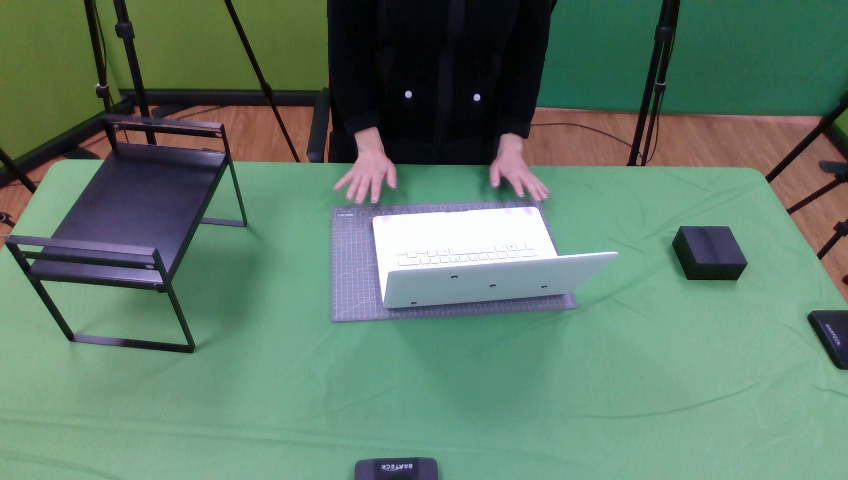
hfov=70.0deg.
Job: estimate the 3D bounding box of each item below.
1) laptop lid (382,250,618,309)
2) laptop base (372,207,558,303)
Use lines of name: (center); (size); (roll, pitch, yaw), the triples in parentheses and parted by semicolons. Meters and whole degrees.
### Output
laptop lid: (0.110, 0.070, 0.989); (0.357, 0.242, 0.013); (-4, 70, -9)
laptop base: (0.083, 0.027, 1.178); (0.355, 0.023, 0.234); (-4, 43, -8)
